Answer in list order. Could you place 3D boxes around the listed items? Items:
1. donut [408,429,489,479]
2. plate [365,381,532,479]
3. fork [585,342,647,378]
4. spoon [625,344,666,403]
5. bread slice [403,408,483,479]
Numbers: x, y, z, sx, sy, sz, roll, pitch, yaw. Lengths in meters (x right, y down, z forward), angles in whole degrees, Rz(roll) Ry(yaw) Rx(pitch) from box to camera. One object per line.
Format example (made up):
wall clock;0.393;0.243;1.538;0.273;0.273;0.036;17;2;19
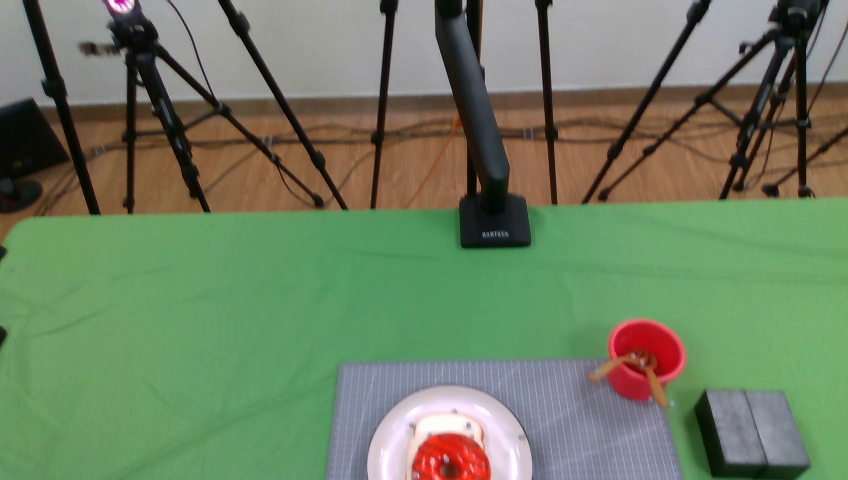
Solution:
donut;0.029;0.276;0.730;0.099;0.048;0.098;1;53;0
plate;0.030;0.279;0.763;0.209;0.038;0.207;-1;49;1
fork;0.249;0.153;0.781;0.028;0.018;0.209;22;11;33
spoon;0.285;0.167;0.777;0.041;0.021;0.194;3;5;12
bread slice;0.024;0.276;0.769;0.105;0.019;0.130;4;51;5
